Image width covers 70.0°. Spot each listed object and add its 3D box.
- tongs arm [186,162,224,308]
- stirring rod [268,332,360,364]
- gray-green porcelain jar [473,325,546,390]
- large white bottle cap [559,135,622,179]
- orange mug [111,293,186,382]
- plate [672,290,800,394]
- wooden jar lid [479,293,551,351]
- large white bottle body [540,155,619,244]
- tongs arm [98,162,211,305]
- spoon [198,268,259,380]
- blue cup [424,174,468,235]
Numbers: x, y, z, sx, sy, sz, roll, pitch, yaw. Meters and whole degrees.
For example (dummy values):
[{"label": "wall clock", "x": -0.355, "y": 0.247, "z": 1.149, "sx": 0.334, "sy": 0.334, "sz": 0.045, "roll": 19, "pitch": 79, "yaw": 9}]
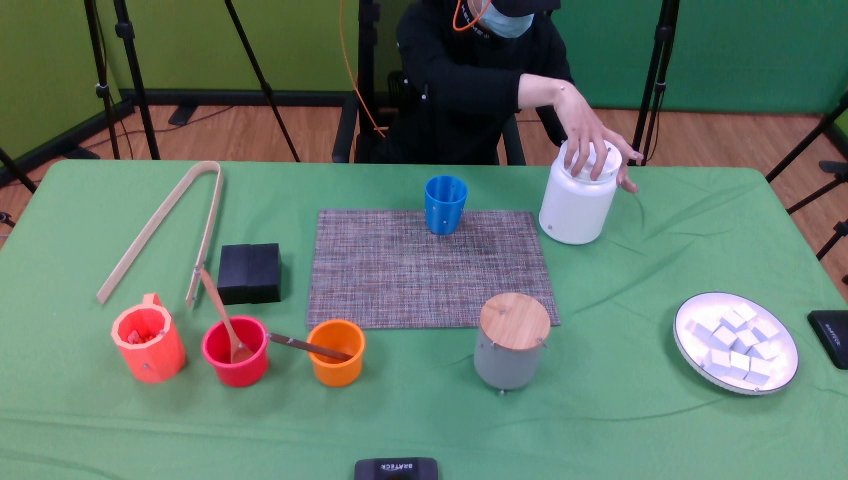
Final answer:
[{"label": "tongs arm", "x": -0.435, "y": -0.025, "z": 1.181, "sx": 0.051, "sy": 0.027, "sz": 0.382, "roll": -3, "pitch": 45, "yaw": 1}, {"label": "stirring rod", "x": -0.167, "y": 0.169, "z": 0.942, "sx": 0.177, "sy": 0.006, "sz": 0.014, "roll": 26, "pitch": 26, "yaw": -41}, {"label": "gray-green porcelain jar", "x": 0.135, "y": 0.170, "z": 0.969, "sx": 0.106, "sy": 0.127, "sz": 0.105, "roll": 2, "pitch": 46, "yaw": -2}, {"label": "large white bottle cap", "x": 0.311, "y": -0.156, "z": 1.135, "sx": 0.115, "sy": 0.018, "sz": 0.114, "roll": 2, "pitch": 46, "yaw": -2}, {"label": "orange mug", "x": -0.435, "y": 0.149, "z": 0.969, "sx": 0.083, "sy": 0.101, "sz": 0.125, "roll": -5, "pitch": 51, "yaw": -8}, {"label": "plate", "x": 0.533, "y": 0.178, "z": 1.050, "sx": 0.208, "sy": 0.039, "sz": 0.206, "roll": 2, "pitch": 46, "yaw": -2}, {"label": "wooden jar lid", "x": 0.137, "y": 0.127, "z": 0.925, "sx": 0.108, "sy": 0.021, "sz": 0.107, "roll": 1, "pitch": 47, "yaw": -1}, {"label": "large white bottle body", "x": 0.308, "y": -0.096, "z": 1.198, "sx": 0.131, "sy": 0.185, "sz": 0.130, "roll": 2, "pitch": 46, "yaw": -1}, {"label": "tongs arm", "x": -0.519, "y": -0.027, "z": 1.184, "sx": 0.028, "sy": 0.028, "sz": 0.385, "roll": 5, "pitch": 45, "yaw": 13}, {"label": "spoon", "x": -0.312, "y": 0.132, "z": 0.962, "sx": 0.041, "sy": 0.021, "sz": 0.194, "roll": -24, "pitch": 96, "yaw": -22}, {"label": "blue cup", "x": 0.039, "y": -0.065, "z": 1.201, "sx": 0.093, "sy": 0.101, "sz": 0.092, "roll": 3, "pitch": 47, "yaw": -3}]
